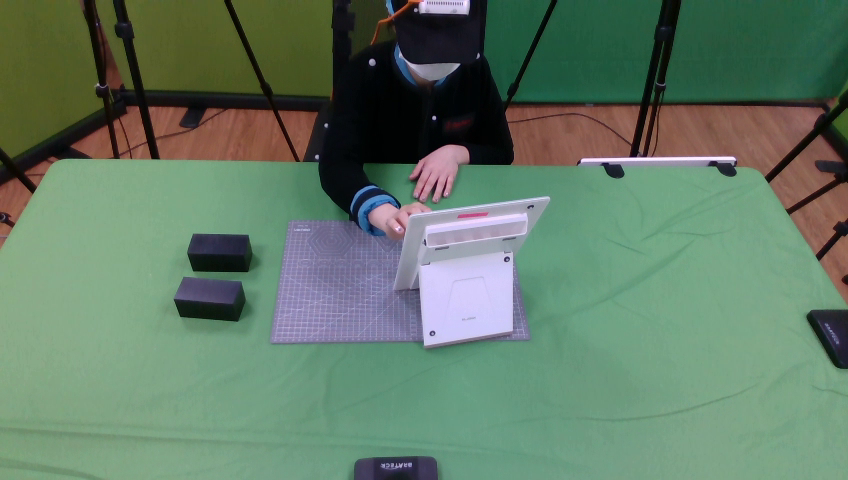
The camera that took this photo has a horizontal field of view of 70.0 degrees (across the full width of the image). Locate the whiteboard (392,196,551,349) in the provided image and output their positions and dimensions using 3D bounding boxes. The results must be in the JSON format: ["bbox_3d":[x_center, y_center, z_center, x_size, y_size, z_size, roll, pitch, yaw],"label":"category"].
[{"bbox_3d":[0.077,0.071,0.977,0.217,0.306,0.143,-7,67,-11],"label":"whiteboard"}]

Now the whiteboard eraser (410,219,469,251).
[{"bbox_3d":[0.023,-0.008,0.960,0.101,0.041,0.018,-22,64,23],"label":"whiteboard eraser"}]
